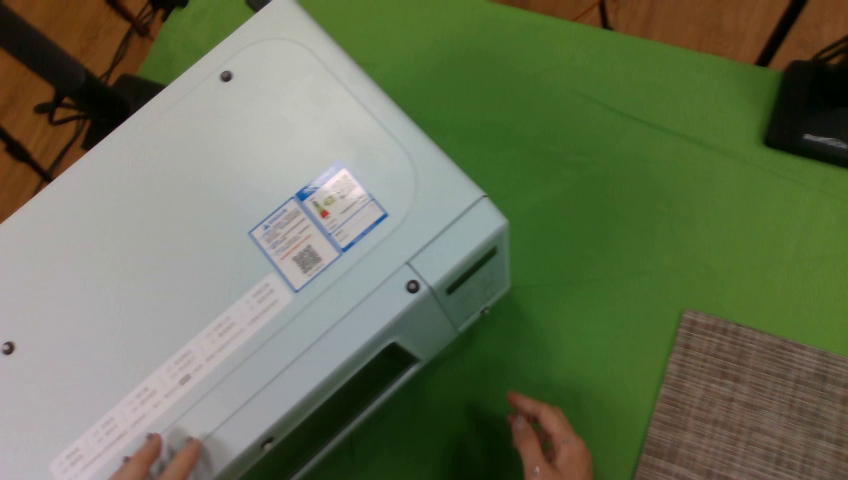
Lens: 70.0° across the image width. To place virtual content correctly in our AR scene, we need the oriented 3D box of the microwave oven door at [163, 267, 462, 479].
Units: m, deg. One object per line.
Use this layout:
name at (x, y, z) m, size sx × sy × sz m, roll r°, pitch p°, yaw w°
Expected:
microwave oven door at (-0.118, 0.172, 0.549) m, size 0.355 × 0.245 × 0.039 m, roll -42°, pitch 71°, yaw -4°

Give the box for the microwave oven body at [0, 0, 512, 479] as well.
microwave oven body at (-0.181, 0.044, 0.600) m, size 0.441 × 0.262 × 0.324 m, roll -42°, pitch 73°, yaw -4°

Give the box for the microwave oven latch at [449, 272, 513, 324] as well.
microwave oven latch at (0.062, 0.056, 0.662) m, size 0.079 × 0.030 × 0.030 m, roll -40°, pitch 73°, yaw -3°
